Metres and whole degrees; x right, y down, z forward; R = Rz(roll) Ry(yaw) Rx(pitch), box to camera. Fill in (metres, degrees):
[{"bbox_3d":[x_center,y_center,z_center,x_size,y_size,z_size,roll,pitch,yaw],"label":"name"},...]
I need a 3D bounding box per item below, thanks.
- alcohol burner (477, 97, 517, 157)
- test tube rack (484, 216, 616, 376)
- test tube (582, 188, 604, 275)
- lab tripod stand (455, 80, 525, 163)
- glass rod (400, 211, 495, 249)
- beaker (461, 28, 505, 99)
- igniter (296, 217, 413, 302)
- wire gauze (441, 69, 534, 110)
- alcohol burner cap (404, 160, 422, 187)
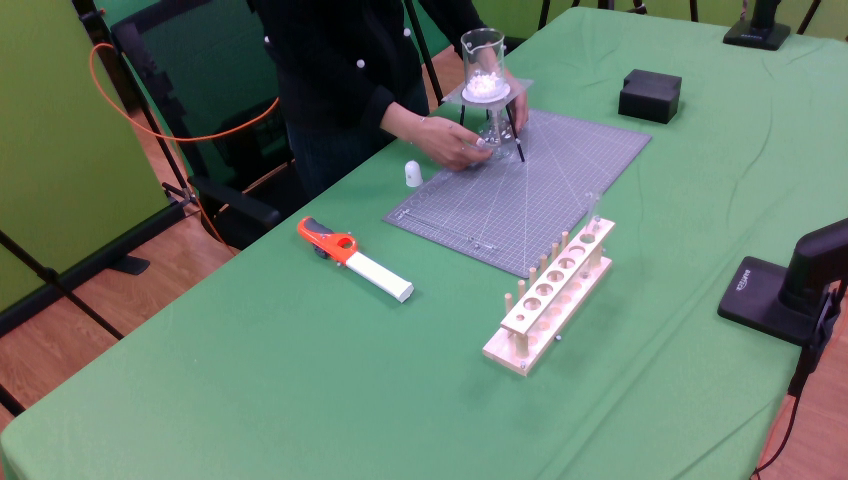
[{"bbox_3d":[0.136,-0.216,1.134,0.078,0.119,0.077,-4,44,4],"label":"alcohol burner"},{"bbox_3d":[0.174,0.064,0.823,0.066,0.085,0.243,23,49,32],"label":"test tube rack"},{"bbox_3d":[0.228,-0.007,0.821,0.017,0.151,0.017,-3,42,3],"label":"test tube"},{"bbox_3d":[0.120,-0.219,1.126,0.148,0.132,0.147,-4,40,4],"label":"lab tripod stand"},{"bbox_3d":[0.035,-0.018,1.001,0.198,0.008,0.008,22,49,35],"label":"glass rod"},{"bbox_3d":[0.103,-0.304,1.051,0.073,0.101,0.084,19,48,29],"label":"beaker"},{"bbox_3d":[-0.121,0.025,0.970,0.274,0.025,0.057,29,63,37],"label":"igniter"},{"bbox_3d":[0.114,-0.268,1.082,0.120,0.011,0.125,22,47,28],"label":"wire gauze"},{"bbox_3d":[-0.022,-0.125,1.118,0.034,0.048,0.033,-5,40,4],"label":"alcohol burner cap"}]
